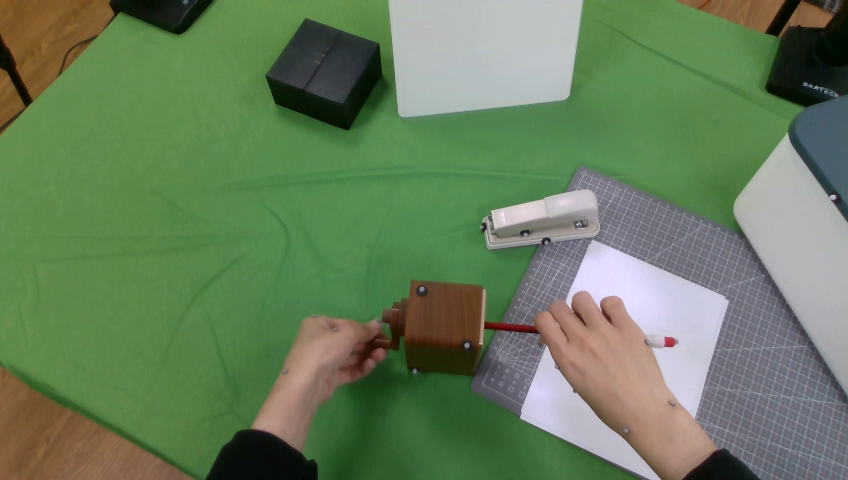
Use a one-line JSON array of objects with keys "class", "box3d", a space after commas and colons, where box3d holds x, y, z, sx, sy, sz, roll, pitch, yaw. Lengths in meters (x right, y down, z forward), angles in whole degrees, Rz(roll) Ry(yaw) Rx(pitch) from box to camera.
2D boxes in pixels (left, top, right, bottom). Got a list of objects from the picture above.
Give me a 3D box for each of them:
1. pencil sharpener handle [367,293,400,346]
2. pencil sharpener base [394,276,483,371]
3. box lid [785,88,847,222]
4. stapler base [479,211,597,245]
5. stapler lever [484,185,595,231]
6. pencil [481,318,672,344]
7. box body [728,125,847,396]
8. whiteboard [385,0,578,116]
[{"class": "pencil sharpener handle", "box3d": [-0.038, 0.077, 0.566, 0.030, 0.068, 0.035, 5, 45, 2]}, {"class": "pencil sharpener base", "box3d": [0.013, 0.082, 0.579, 0.076, 0.108, 0.061, 5, 65, 2]}, {"class": "box lid", "box3d": [0.508, -0.003, 0.514, 0.263, 0.015, 0.368, -18, 67, -10]}, {"class": "stapler base", "box3d": [0.128, -0.024, 0.674, 0.130, 0.024, 0.041, -8, 61, -1]}, {"class": "stapler lever", "box3d": [0.125, -0.034, 0.652, 0.118, 0.040, 0.026, -8, 61, -1]}, {"class": "pencil", "box3d": [0.121, 0.080, 0.543, 0.194, 0.012, 0.012, 4, 64, 5]}, {"class": "box body", "box3d": [0.508, 0.031, 0.579, 0.254, 0.161, 0.361, -18, 66, -10]}, {"class": "whiteboard", "box3d": [0.058, -0.322, 0.693, 0.217, 0.308, 0.142, -7, 46, -3]}]
